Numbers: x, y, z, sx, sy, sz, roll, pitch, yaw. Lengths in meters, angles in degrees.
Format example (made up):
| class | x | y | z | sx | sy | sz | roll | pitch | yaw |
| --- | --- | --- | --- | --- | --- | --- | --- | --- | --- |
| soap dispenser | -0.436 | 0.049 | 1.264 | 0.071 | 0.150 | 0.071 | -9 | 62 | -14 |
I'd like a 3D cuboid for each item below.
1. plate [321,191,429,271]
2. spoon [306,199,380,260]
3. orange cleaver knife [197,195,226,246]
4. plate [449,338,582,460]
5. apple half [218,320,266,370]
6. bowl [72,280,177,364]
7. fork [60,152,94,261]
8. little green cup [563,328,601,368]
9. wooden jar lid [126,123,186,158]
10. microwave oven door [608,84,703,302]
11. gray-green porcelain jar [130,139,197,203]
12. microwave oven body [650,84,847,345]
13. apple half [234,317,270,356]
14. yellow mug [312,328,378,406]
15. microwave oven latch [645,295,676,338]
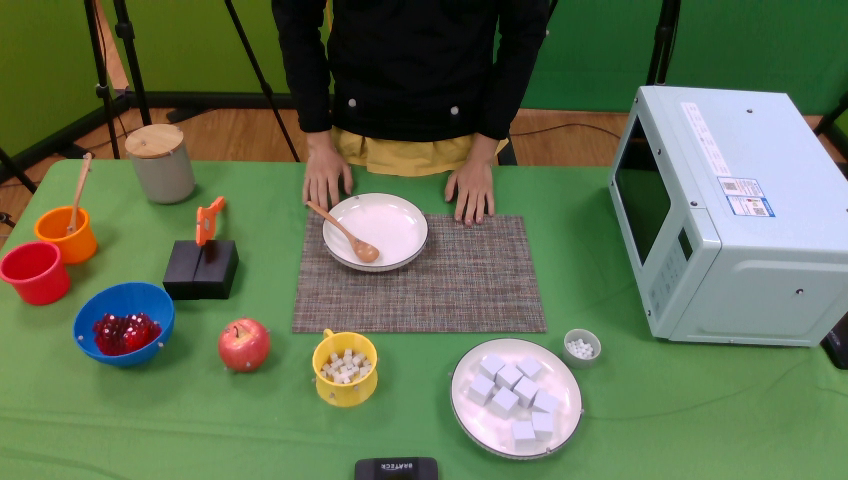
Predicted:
| class | x | y | z | sx | sy | sz | roll | pitch | yaw |
| --- | --- | --- | --- | --- | --- | --- | --- | --- | --- |
| plate | -0.094 | -0.015 | 1.185 | 0.209 | 0.038 | 0.208 | 2 | 46 | -2 |
| spoon | -0.160 | -0.023 | 1.170 | 0.193 | 0.022 | 0.041 | 41 | 61 | 16 |
| orange cleaver knife | -0.405 | -0.041 | 1.157 | 0.012 | 0.077 | 0.210 | 2 | 14 | -7 |
| plate | 0.141 | 0.251 | 0.956 | 0.208 | 0.039 | 0.206 | 2 | 46 | -2 |
| apple half | -0.298 | 0.176 | 0.971 | 0.080 | 0.075 | 0.053 | 35 | 57 | 22 |
| bowl | -0.473 | 0.147 | 0.982 | 0.151 | 0.077 | 0.150 | 2 | 46 | -2 |
| fork | -0.638 | -0.063 | 1.119 | 0.028 | 0.018 | 0.207 | 12 | 90 | 9 |
| little green cup | 0.265 | 0.184 | 1.025 | 0.061 | 0.039 | 0.061 | 1 | 46 | -1 |
| wooden jar lid | -0.519 | -0.190 | 1.179 | 0.108 | 0.021 | 0.107 | 2 | 44 | -2 |
| microwave oven door | 0.424 | -0.096 | 1.138 | 0.039 | 0.245 | 0.353 | 2 | 46 | -1 |
| gray-green porcelain jar | -0.522 | -0.148 | 1.225 | 0.106 | 0.127 | 0.105 | 2 | 47 | -2 |
| microwave oven body | 0.569 | -0.054 | 1.116 | 0.326 | 0.261 | 0.439 | 2 | 46 | -1 |
| apple half | -0.273 | 0.154 | 0.992 | 0.081 | 0.082 | 0.033 | 33 | 56 | 25 |
| yellow mug | -0.132 | 0.193 | 0.971 | 0.100 | 0.064 | 0.130 | -22 | 51 | -22 |
| microwave oven latch | 0.412 | 0.133 | 1.061 | 0.030 | 0.029 | 0.078 | 3 | 46 | 0 |
